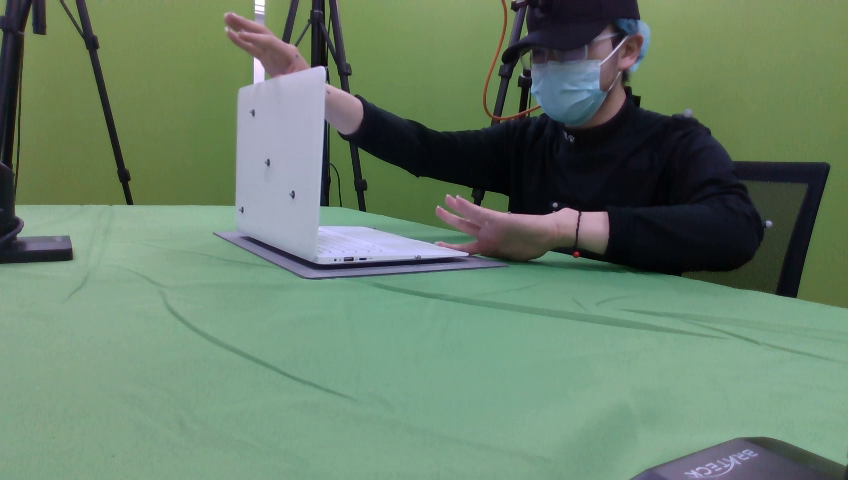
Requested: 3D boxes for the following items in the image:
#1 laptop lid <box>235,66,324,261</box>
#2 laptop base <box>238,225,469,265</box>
[{"bbox_3d":[-0.217,-0.111,0.858,0.013,0.241,0.355,-1,9,-33],"label":"laptop lid"},{"bbox_3d":[-0.124,0.005,0.936,0.237,0.023,0.352,1,7,-33],"label":"laptop base"}]
